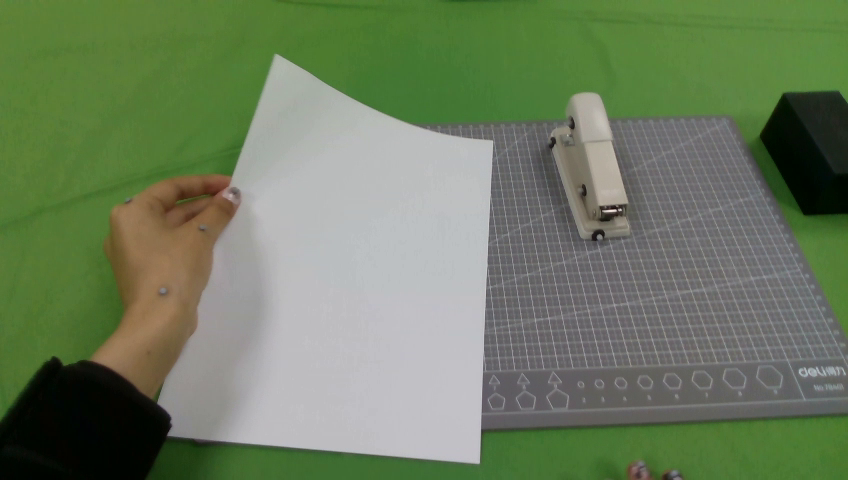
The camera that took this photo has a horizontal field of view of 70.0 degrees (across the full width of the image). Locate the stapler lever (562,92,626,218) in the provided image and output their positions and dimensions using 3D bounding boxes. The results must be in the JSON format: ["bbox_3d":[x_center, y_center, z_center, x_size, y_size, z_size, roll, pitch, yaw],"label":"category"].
[{"bbox_3d":[0.138,-0.073,0.495,0.027,0.040,0.117,-6,54,-2],"label":"stapler lever"}]

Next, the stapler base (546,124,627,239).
[{"bbox_3d":[0.138,-0.059,0.516,0.041,0.024,0.129,-6,54,-2],"label":"stapler base"}]
